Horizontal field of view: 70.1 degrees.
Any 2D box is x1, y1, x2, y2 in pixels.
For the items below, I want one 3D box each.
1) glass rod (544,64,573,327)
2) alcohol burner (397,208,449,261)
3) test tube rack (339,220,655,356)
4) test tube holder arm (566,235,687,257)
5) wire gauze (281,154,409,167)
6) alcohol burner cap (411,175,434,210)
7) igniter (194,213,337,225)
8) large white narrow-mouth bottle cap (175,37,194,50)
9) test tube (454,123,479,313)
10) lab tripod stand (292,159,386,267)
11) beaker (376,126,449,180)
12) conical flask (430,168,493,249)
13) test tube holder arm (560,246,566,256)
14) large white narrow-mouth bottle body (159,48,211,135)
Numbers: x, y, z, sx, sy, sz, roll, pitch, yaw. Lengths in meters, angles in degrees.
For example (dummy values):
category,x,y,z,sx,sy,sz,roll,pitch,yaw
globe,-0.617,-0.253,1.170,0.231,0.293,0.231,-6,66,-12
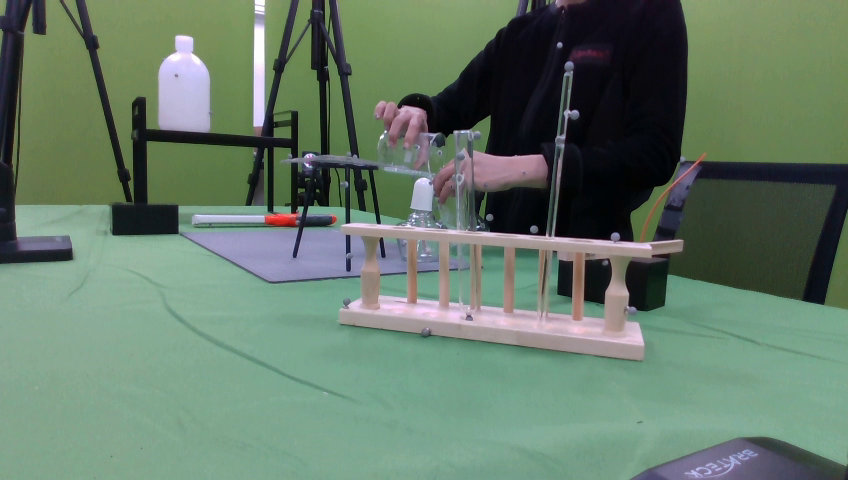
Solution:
category,x,y,z,sx,sy,sz,roll,pitch,yaw
glass rod,0.101,-0.028,0.453,0.008,0.199,0.008,2,13,0
alcohol burner,-0.002,-0.031,0.846,0.078,0.119,0.078,0,6,0
test tube rack,0.056,0.032,0.495,0.242,0.085,0.067,4,7,15
test tube holder arm,0.215,0.006,0.630,0.179,0.015,0.013,-3,9,-31
wire gauze,-0.104,-0.104,0.784,0.126,0.011,0.121,-2,8,-38
alcohol burner cap,0.000,-0.067,0.842,0.034,0.048,0.034,7,8,-1
igniter,-0.306,-0.041,1.197,0.278,0.025,0.057,-2,-2,-30
large white narrow-mouth bottle cap,-0.501,-0.410,1.264,0.038,0.024,0.037,2,7,0
test tube,0.034,-0.016,0.477,0.017,0.150,0.017,-2,9,1
lab tripod stand,-0.105,-0.039,0.797,0.148,0.131,0.148,2,5,0
beaker,-0.020,-0.143,0.974,0.100,0.084,0.074,10,11,25
conical flask,0.049,-0.052,0.944,0.075,0.121,0.075,-27,-12,-6
test tube holder arm,0.173,0.007,0.612,0.088,0.015,0.010,-3,9,-29
large white narrow-mouth bottle body,-0.503,-0.323,1.275,0.102,0.194,0.102,2,7,0
